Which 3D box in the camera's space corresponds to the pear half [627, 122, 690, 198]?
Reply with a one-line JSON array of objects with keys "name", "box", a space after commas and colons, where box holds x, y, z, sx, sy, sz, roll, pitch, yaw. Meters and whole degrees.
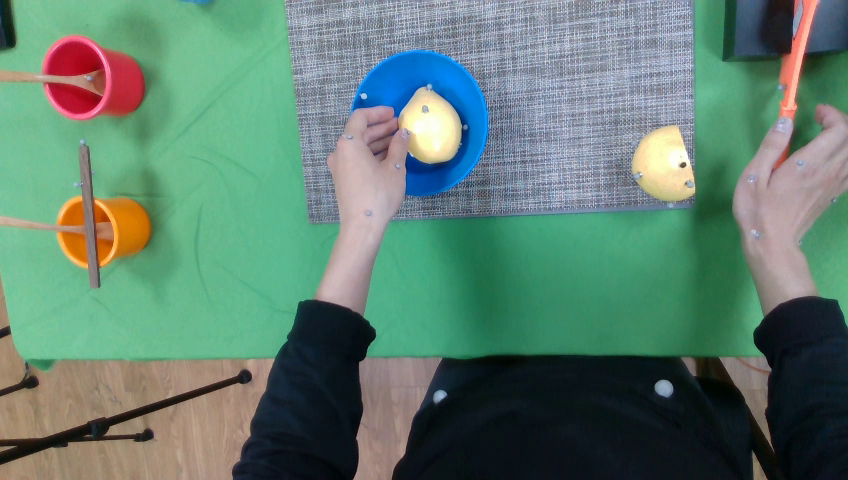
[{"name": "pear half", "box": [0.235, -0.076, 0.607, 0.056, 0.110, 0.076, -22, 90, 16]}]

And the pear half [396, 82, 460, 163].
[{"name": "pear half", "box": [0.006, -0.129, 0.657, 0.070, 0.031, 0.088, -8, 96, -6]}]

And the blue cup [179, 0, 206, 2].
[{"name": "blue cup", "box": [-0.281, -0.313, 0.688, 0.092, 0.100, 0.093, 2, 101, 11]}]

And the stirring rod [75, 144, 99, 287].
[{"name": "stirring rod", "box": [-0.411, -0.028, 0.739, 0.014, 0.006, 0.176, 2, 101, 9]}]

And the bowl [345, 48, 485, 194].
[{"name": "bowl", "box": [-0.003, -0.128, 0.667, 0.151, 0.077, 0.151, 2, 100, 13]}]

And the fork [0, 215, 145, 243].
[{"name": "fork", "box": [-0.461, -0.018, 0.753, 0.209, 0.018, 0.028, 7, 114, -33]}]

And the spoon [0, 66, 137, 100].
[{"name": "spoon", "box": [-0.452, -0.194, 0.725, 0.195, 0.021, 0.042, -3, 103, -31]}]

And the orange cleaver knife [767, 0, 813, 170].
[{"name": "orange cleaver knife", "box": [0.350, -0.170, 0.583, 0.012, 0.076, 0.213, 1, 128, 18]}]
